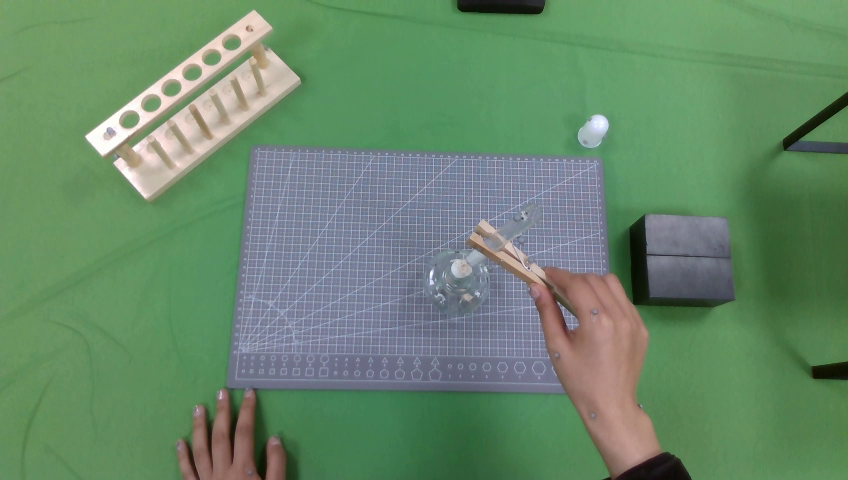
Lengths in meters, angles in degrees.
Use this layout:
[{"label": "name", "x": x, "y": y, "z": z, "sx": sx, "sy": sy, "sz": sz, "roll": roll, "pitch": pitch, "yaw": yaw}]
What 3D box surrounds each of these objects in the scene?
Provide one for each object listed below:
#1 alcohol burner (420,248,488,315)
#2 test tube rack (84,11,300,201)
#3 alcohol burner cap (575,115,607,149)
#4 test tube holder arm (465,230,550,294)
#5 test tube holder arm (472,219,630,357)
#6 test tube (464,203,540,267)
[{"label": "alcohol burner", "x": 0.036, "y": 0.042, "z": 0.676, "sx": 0.078, "sy": 0.119, "sz": 0.077, "roll": 1, "pitch": 73, "yaw": -4}, {"label": "test tube rack", "x": -0.269, "y": -0.160, "z": 0.731, "sx": 0.242, "sy": 0.085, "sz": 0.066, "roll": -42, "pitch": 80, "yaw": -13}, {"label": "alcohol burner cap", "x": 0.217, "y": -0.141, "z": 0.777, "sx": 0.034, "sy": 0.048, "sz": 0.033, "roll": 1, "pitch": 74, "yaw": -3}, {"label": "test tube holder arm", "x": 0.075, "y": 0.020, "z": 0.540, "sx": 0.088, "sy": 0.015, "sz": 0.010, "roll": 33, "pitch": 69, "yaw": -3}, {"label": "test tube holder arm", "x": 0.114, "y": 0.044, "z": 0.543, "sx": 0.178, "sy": 0.015, "sz": 0.013, "roll": 40, "pitch": 70, "yaw": 0}, {"label": "test tube", "x": 0.063, "y": -0.001, "z": 0.527, "sx": 0.017, "sy": 0.150, "sz": 0.017, "roll": 4, "pitch": 72, "yaw": -14}]
